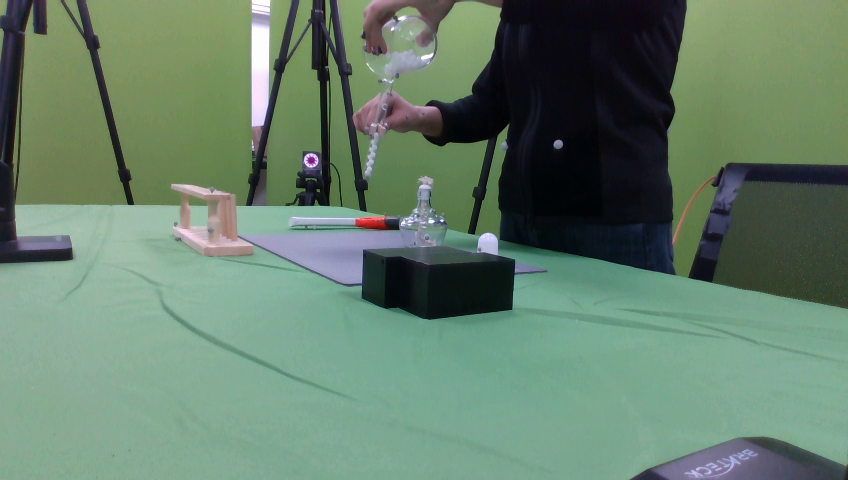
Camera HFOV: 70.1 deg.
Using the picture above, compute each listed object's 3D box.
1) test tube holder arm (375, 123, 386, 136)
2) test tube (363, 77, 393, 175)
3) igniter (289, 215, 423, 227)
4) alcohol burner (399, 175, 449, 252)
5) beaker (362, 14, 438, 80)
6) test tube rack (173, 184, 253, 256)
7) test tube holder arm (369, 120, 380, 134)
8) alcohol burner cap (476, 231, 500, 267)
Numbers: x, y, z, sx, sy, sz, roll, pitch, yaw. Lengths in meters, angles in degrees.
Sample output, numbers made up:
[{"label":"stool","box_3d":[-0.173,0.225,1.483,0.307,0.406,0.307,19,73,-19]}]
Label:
[{"label":"test tube holder arm","box_3d":[-0.069,-0.173,0.936,0.010,0.015,0.087,13,13,-14]},{"label":"test tube","box_3d":[-0.070,-0.170,0.912,0.017,0.150,0.017,13,18,-4]},{"label":"igniter","box_3d":[-0.133,-0.038,1.231,0.278,0.025,0.057,-1,-2,-26]},{"label":"alcohol burner","box_3d":[0.000,-0.041,0.937,0.078,0.119,0.078,0,7,0]},{"label":"beaker","box_3d":[-0.032,-0.269,0.844,0.074,0.084,0.100,-12,14,-28]},{"label":"test tube rack","box_3d":[-0.329,-0.036,0.927,0.067,0.085,0.241,-2,9,-32]},{"label":"test tube holder arm","box_3d":[-0.079,-0.185,0.979,0.013,0.015,0.178,15,13,-7]},{"label":"alcohol burner cap","box_3d":[0.088,0.012,0.830,0.034,0.048,0.034,2,6,0]}]
